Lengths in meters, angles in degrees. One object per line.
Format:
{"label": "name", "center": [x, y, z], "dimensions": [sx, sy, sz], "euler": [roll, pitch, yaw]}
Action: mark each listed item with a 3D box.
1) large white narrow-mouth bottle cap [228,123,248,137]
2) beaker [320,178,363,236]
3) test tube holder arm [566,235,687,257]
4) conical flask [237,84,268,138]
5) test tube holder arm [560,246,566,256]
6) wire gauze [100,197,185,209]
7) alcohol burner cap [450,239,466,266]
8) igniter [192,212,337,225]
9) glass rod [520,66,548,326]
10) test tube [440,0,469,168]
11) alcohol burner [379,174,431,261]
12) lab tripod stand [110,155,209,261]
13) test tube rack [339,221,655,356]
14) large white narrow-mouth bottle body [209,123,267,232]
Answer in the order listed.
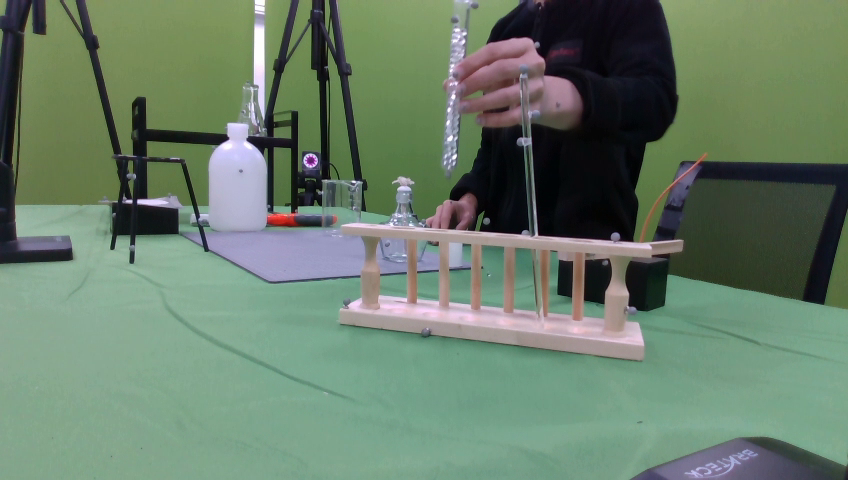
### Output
{"label": "large white narrow-mouth bottle cap", "center": [-0.338, -0.199, 1.097], "dimensions": [0.038, 0.024, 0.037], "euler": [2, 8, 0]}
{"label": "beaker", "center": [-0.145, -0.059, 1.078], "dimensions": [0.074, 0.100, 0.083], "euler": [-4, 10, -36]}
{"label": "test tube holder arm", "center": [0.215, 0.006, 0.630], "dimensions": [0.179, 0.015, 0.013], "euler": [-3, 9, -30]}
{"label": "conical flask", "center": [-0.402, -0.299, 1.406], "dimensions": [0.075, 0.122, 0.075], "euler": [2, 7, 0]}
{"label": "test tube holder arm", "center": [0.173, 0.007, 0.611], "dimensions": [0.088, 0.015, 0.010], "euler": [-3, 9, -30]}
{"label": "wire gauze", "center": [-0.469, -0.062, 1.008], "dimensions": [0.126, 0.011, 0.121], "euler": [-2, 8, -25]}
{"label": "alcohol burner cap", "center": [0.041, 0.010, 0.815], "dimensions": [0.034, 0.048, 0.034], "euler": [2, 9, 0]}
{"label": "igniter", "center": [-0.312, -0.042, 1.203], "dimensions": [0.278, 0.025, 0.057], "euler": [-1, -5, -25]}
{"label": "glass rod", "center": [0.084, -0.029, 0.458], "dimensions": [0.008, 0.199, 0.008], "euler": [-6, 11, 2]}
{"label": "test tube", "center": [0.026, -0.139, 0.531], "dimensions": [0.017, 0.150, 0.017], "euler": [4, 9, 0]}
{"label": "alcohol burner", "center": [-0.027, -0.031, 0.838], "dimensions": [0.078, 0.119, 0.078], "euler": [0, 6, 0]}
{"label": "lab tripod stand", "center": [-0.361, -0.046, 0.806], "dimensions": [0.148, 0.131, 0.148], "euler": [2, 5, 0]}
{"label": "test tube rack", "center": [0.056, 0.032, 0.495], "dimensions": [0.242, 0.085, 0.067], "euler": [4, 7, 15]}
{"label": "large white narrow-mouth bottle body", "center": [-0.340, -0.115, 1.109], "dimensions": [0.102, 0.194, 0.102], "euler": [2, 8, 0]}
